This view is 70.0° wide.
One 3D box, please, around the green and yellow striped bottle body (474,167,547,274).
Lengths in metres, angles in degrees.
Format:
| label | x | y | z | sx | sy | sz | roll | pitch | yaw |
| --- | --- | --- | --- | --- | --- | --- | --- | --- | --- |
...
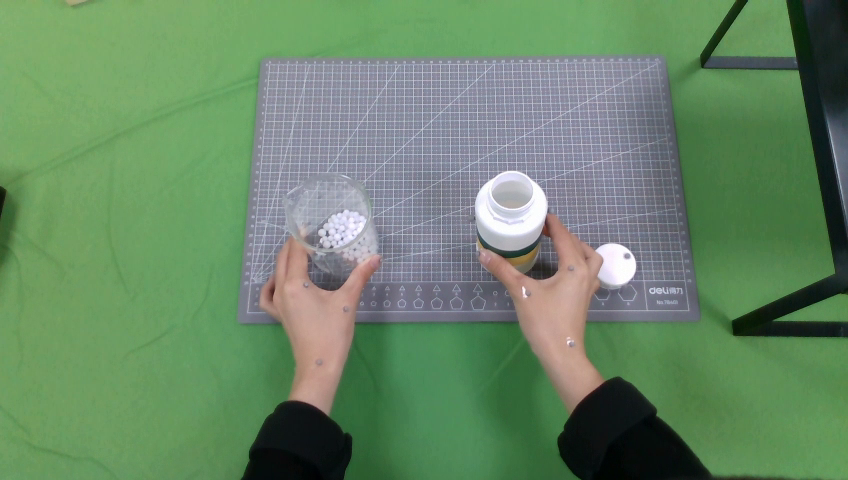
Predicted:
| label | x | y | z | sx | sy | sz | roll | pitch | yaw |
| --- | --- | --- | --- | --- | --- | --- | --- | --- | --- |
| green and yellow striped bottle body | 0.077 | -0.019 | 0.552 | 0.063 | 0.120 | 0.062 | -2 | 65 | 5 |

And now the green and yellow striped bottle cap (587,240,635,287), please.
| label | x | y | z | sx | sy | sz | roll | pitch | yaw |
| --- | --- | --- | --- | --- | --- | --- | --- | --- | --- |
| green and yellow striped bottle cap | 0.184 | 0.023 | 0.597 | 0.045 | 0.020 | 0.045 | 0 | 70 | 1 |

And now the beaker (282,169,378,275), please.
| label | x | y | z | sx | sy | sz | roll | pitch | yaw |
| --- | --- | --- | --- | --- | --- | --- | --- | --- | --- |
| beaker | -0.084 | -0.013 | 0.568 | 0.084 | 0.101 | 0.073 | 19 | 73 | 7 |

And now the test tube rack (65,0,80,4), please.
| label | x | y | z | sx | sy | sz | roll | pitch | yaw |
| --- | --- | --- | --- | --- | --- | --- | --- | --- | --- |
| test tube rack | -0.316 | -0.360 | 0.688 | 0.242 | 0.085 | 0.066 | -21 | 73 | -6 |
